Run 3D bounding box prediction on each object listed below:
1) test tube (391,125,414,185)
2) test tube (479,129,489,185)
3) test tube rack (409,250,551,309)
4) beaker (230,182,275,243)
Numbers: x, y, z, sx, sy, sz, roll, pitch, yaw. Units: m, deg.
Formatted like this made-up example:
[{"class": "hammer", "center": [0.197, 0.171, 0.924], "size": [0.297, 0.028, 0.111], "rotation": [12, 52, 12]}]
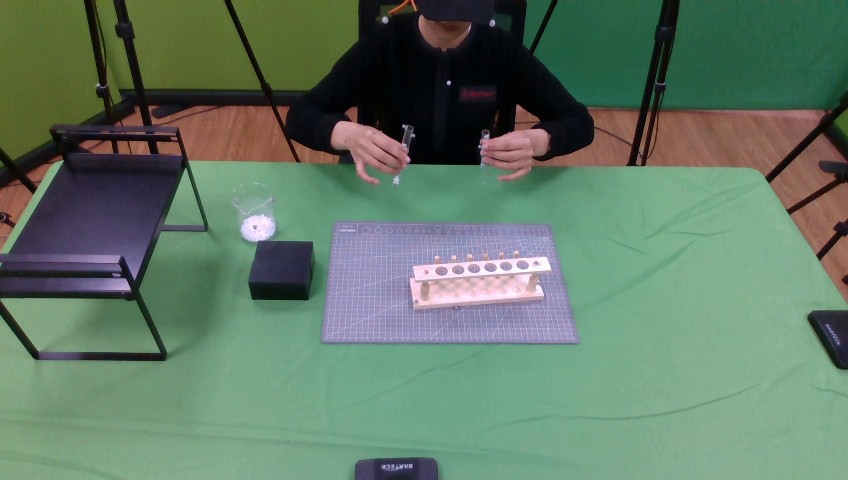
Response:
[{"class": "test tube", "center": [-0.043, -0.161, 1.165], "size": [0.017, 0.151, 0.017], "rotation": [8, 49, -10]}, {"class": "test tube", "center": [0.119, -0.162, 1.210], "size": [0.017, 0.151, 0.017], "rotation": [-1, 53, 2]}, {"class": "test tube rack", "center": [0.098, 0.065, 1.096], "size": [0.243, 0.085, 0.066], "rotation": [-4, 47, -8]}, {"class": "beaker", "center": [-0.328, -0.049, 1.166], "size": [0.074, 0.101, 0.083], "rotation": [2, 47, -2]}]
